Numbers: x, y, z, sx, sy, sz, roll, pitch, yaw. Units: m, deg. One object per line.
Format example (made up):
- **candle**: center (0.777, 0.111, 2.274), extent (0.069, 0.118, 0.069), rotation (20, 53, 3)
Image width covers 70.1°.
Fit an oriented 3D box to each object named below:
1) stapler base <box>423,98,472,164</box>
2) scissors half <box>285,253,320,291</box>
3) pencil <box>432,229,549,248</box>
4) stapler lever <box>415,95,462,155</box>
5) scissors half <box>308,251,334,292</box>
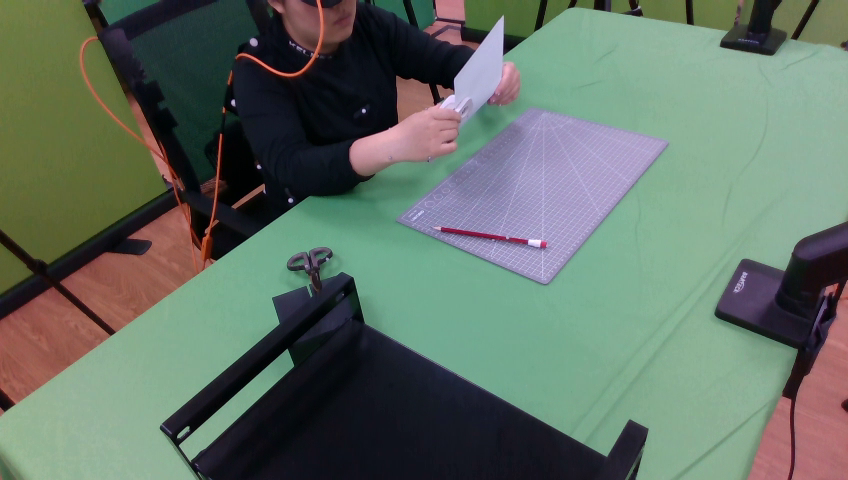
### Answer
- **stapler base**: center (0.036, -0.192, 1.036), extent (0.024, 0.041, 0.130), rotation (32, 80, 20)
- **scissors half**: center (-0.178, 0.049, 0.909), extent (0.040, 0.013, 0.174), rotation (-16, 20, -20)
- **pencil**: center (0.103, -0.005, 0.970), extent (0.193, 0.012, 0.012), rotation (8, 42, 18)
- **stapler lever**: center (0.023, -0.200, 1.040), extent (0.118, 0.027, 0.040), rotation (-45, 69, -6)
- **scissors half**: center (-0.159, 0.046, 0.913), extent (0.040, 0.013, 0.174), rotation (-6, 18, -4)
